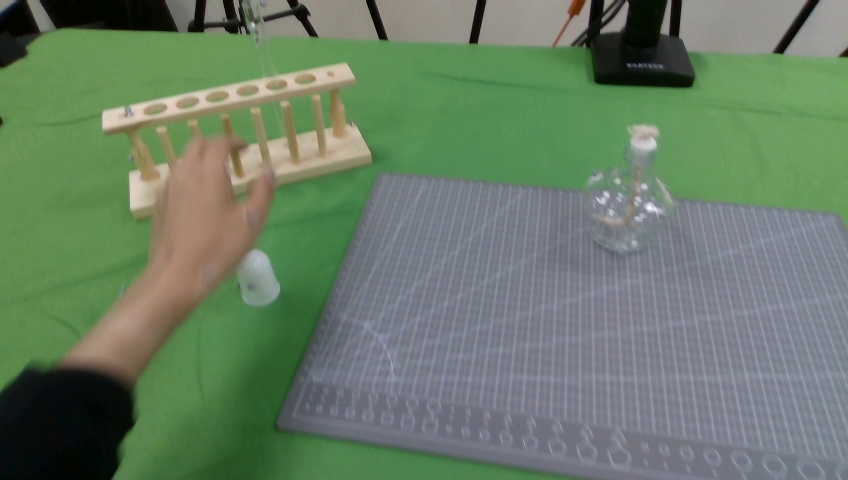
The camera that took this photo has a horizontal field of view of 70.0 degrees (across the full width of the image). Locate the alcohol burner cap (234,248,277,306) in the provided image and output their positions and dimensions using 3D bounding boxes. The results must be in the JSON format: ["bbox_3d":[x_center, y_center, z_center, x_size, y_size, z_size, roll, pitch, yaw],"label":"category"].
[{"bbox_3d":[-0.144,0.029,0.510,0.034,0.048,0.033,-1,44,1],"label":"alcohol burner cap"}]

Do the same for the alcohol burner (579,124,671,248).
[{"bbox_3d":[0.177,-0.050,0.523,0.078,0.120,0.077,0,45,0],"label":"alcohol burner"}]

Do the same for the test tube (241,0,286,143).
[{"bbox_3d":[-0.155,-0.162,0.606,0.017,0.151,0.017,-3,43,3],"label":"test tube"}]

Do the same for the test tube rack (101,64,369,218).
[{"bbox_3d":[-0.185,-0.103,0.617,0.243,0.086,0.066,-16,45,-14],"label":"test tube rack"}]
